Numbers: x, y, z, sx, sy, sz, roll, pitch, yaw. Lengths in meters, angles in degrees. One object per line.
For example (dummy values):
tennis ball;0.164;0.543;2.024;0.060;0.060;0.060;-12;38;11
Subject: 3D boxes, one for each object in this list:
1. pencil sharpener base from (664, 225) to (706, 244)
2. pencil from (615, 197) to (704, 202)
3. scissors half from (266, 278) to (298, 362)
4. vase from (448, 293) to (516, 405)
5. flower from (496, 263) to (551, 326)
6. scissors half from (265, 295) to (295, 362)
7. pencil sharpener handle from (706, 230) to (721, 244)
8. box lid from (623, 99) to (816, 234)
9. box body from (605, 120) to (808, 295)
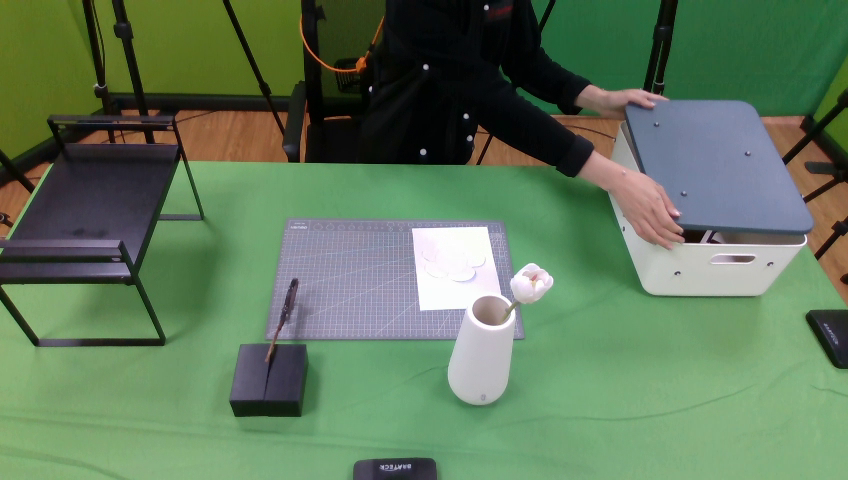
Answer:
pencil sharpener base;0.530;-0.034;1.202;0.076;0.107;0.061;30;51;21
pencil;0.512;-0.090;1.322;0.194;0.012;0.012;1;46;0
scissors half;-0.234;0.127;0.993;0.013;0.040;0.174;12;46;-4
vase;0.091;0.169;0.921;0.098;0.201;0.097;3;47;-3
flower;0.102;0.121;0.853;0.044;0.363;0.038;-1;64;-10
scissors half;-0.239;0.143;1.005;0.013;0.040;0.174;17;28;-6
pencil sharpener handle;0.572;-0.019;1.174;0.030;0.068;0.036;30;47;21
box lid;0.525;-0.148;1.114;0.263;0.015;0.369;2;46;1
box body;0.529;-0.068;1.205;0.254;0.161;0.361;1;46;-4
